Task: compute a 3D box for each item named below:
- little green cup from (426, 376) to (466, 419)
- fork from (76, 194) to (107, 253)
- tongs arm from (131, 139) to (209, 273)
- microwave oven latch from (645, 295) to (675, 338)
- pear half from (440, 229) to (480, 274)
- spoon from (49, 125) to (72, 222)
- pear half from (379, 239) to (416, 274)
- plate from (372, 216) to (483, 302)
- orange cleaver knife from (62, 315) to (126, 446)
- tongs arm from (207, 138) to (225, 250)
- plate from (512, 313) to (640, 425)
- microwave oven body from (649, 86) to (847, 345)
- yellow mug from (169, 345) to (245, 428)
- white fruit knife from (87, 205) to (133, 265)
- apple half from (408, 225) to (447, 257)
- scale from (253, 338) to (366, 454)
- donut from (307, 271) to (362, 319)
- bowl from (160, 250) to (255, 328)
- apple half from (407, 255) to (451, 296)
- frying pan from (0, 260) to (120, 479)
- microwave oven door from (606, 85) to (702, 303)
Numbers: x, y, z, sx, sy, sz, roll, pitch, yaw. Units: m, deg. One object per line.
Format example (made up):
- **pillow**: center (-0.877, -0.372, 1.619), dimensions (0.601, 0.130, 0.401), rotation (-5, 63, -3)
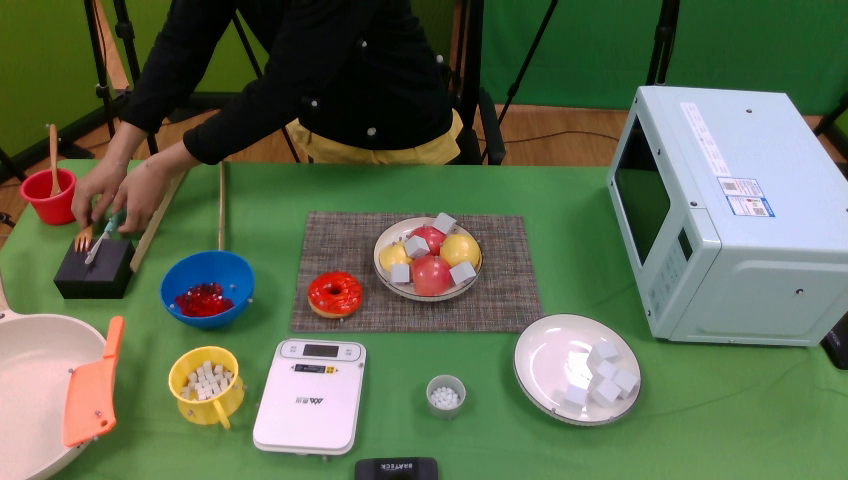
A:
- **little green cup**: center (0.033, 0.248, 0.950), dimensions (0.061, 0.039, 0.061), rotation (2, 46, -2)
- **fork**: center (-0.631, -0.036, 1.159), dimensions (0.028, 0.019, 0.206), rotation (-10, 32, -9)
- **tongs arm**: center (-0.515, -0.084, 1.239), dimensions (0.028, 0.028, 0.385), rotation (-1, 45, 6)
- **microwave oven latch**: center (0.411, 0.134, 1.061), dimensions (0.030, 0.029, 0.078), rotation (3, 45, 0)
- **pear half**: center (0.065, 0.007, 1.150), dimensions (0.076, 0.056, 0.109), rotation (-10, 43, -2)
- **spoon**: center (-0.718, -0.131, 1.189), dimensions (0.041, 0.021, 0.193), rotation (-3, 90, -7)
- **pear half**: center (-0.048, 0.024, 1.147), dimensions (0.070, 0.031, 0.087), rotation (13, 48, -10)
- **plate**: center (0.006, 0.038, 1.145), dimensions (0.209, 0.038, 0.208), rotation (2, 46, -2)
- **orange cleaver knife**: center (-0.480, 0.199, 0.887), dimensions (0.077, 0.012, 0.210), rotation (-9, 47, -7)
- **tongs arm**: center (-0.431, -0.089, 1.245), dimensions (0.051, 0.027, 0.382), rotation (-9, 46, -6)
- **plate**: center (0.246, 0.213, 0.999), dimensions (0.208, 0.039, 0.206), rotation (2, 46, -2)
- **microwave oven body**: center (0.567, -0.053, 1.118), dimensions (0.326, 0.261, 0.439), rotation (2, 45, -1)
- **yellow mug**: center (-0.322, 0.230, 0.922), dimensions (0.100, 0.064, 0.130), rotation (-24, 53, -25)
- **white fruit knife**: center (-0.584, -0.013, 1.129), dimensions (0.016, 0.027, 0.206), rotation (0, 31, -4)
- **apple half**: center (0.010, -0.006, 1.176), dimensions (0.081, 0.033, 0.081), rotation (2, 52, -2)
- **scale**: center (-0.175, 0.236, 0.951), dimensions (0.149, 0.032, 0.199), rotation (4, 45, -1)
- **donut**: center (-0.158, 0.097, 1.073), dimensions (0.099, 0.048, 0.098), rotation (4, 45, -4)
- **bowl**: center (-0.362, 0.098, 1.040), dimensions (0.151, 0.077, 0.150), rotation (2, 45, -2)
- **apple half**: center (0.011, 0.058, 1.103), dimensions (0.075, 0.053, 0.080), rotation (-6, 43, -13)
- **frying pan**: center (-0.647, 0.164, 0.936), dimensions (0.307, 0.103, 0.485), rotation (-19, 58, -22)
- **microwave oven door**: center (0.422, -0.094, 1.140), dimensions (0.039, 0.245, 0.353), rotation (2, 46, -1)
